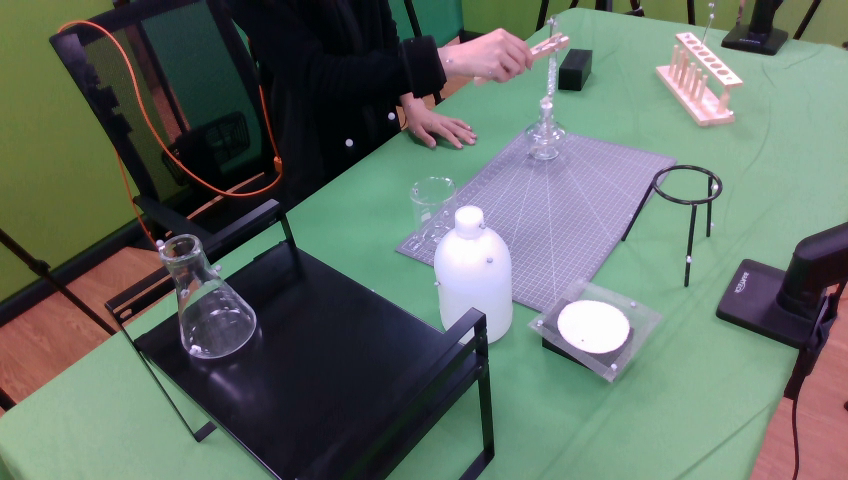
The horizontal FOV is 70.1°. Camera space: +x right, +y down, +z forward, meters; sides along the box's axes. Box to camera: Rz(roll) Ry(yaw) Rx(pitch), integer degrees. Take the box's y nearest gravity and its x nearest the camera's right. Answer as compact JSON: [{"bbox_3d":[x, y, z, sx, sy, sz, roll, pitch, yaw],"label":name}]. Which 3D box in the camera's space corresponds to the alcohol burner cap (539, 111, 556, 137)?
[{"bbox_3d":[0.243,-0.232,1.197,0.034,0.048,0.033,-5,38,4],"label":"alcohol burner cap"}]

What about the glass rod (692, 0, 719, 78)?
[{"bbox_3d":[0.561,-0.401,1.214,0.008,0.200,0.008,-1,48,2],"label":"glass rod"}]

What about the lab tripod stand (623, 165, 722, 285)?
[{"bbox_3d":[0.365,-0.030,0.875,0.148,0.132,0.147,-6,41,6],"label":"lab tripod stand"}]

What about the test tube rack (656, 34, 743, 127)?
[{"bbox_3d":[0.553,-0.330,1.233,0.067,0.085,0.241,-7,40,2],"label":"test tube rack"}]

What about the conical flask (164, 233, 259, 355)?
[{"bbox_3d":[-0.216,0.051,0.601,0.075,0.122,0.075,-4,40,4],"label":"conical flask"}]

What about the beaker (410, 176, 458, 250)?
[{"bbox_3d":[0.022,-0.041,0.964,0.073,0.101,0.084,28,51,35],"label":"beaker"}]

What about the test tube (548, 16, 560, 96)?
[{"bbox_3d":[0.218,-0.305,1.015,0.017,0.151,0.017,-5,51,6],"label":"test tube"}]

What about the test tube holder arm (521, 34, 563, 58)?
[{"bbox_3d":[0.193,-0.313,0.991,0.088,0.015,0.010,-34,53,-20],"label":"test tube holder arm"}]

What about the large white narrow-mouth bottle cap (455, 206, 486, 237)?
[{"bbox_3d":[0.057,-0.023,0.734,0.038,0.024,0.037,-4,40,4],"label":"large white narrow-mouth bottle cap"}]

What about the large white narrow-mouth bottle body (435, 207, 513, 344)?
[{"bbox_3d":[0.065,0.041,0.791,0.102,0.195,0.101,-4,41,4],"label":"large white narrow-mouth bottle body"}]

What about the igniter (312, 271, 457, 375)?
[{"bbox_3d":[-0.068,0.111,0.859,0.274,0.025,0.057,27,61,34],"label":"igniter"}]

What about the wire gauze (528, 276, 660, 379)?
[{"bbox_3d":[0.214,0.103,0.763,0.124,0.011,0.122,30,52,35],"label":"wire gauze"}]

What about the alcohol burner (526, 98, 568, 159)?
[{"bbox_3d":[0.228,-0.210,1.118,0.078,0.119,0.077,-5,43,5],"label":"alcohol burner"}]

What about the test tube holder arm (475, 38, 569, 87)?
[{"bbox_3d":[0.159,-0.288,0.975,0.179,0.015,0.013,-28,51,-15],"label":"test tube holder arm"}]
